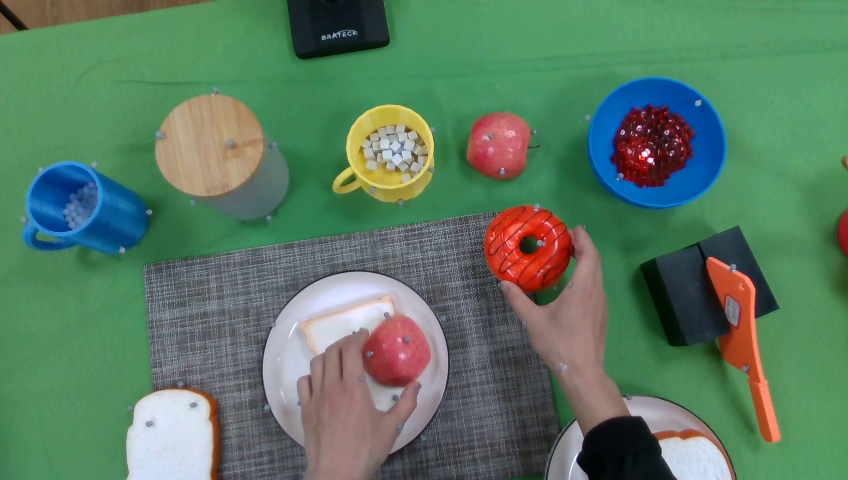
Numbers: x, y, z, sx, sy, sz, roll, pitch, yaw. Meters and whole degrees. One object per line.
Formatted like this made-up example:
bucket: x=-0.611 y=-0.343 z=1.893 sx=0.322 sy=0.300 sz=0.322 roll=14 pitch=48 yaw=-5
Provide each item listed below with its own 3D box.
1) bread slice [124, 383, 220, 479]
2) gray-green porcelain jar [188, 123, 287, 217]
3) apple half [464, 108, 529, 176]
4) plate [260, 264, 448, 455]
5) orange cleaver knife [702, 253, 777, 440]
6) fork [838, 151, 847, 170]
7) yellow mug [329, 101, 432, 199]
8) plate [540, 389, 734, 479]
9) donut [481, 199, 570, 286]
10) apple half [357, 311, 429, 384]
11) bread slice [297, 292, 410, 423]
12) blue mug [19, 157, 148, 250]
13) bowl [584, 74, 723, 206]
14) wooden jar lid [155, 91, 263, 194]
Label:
bread slice: x=-0.283 y=0.227 z=0.677 sx=0.105 sy=0.019 sz=0.131 roll=-1 pitch=82 yaw=-1
gray-green porcelain jar: x=-0.215 y=-0.086 z=0.676 sx=0.106 sy=0.127 sz=0.105 roll=0 pitch=80 yaw=1
apple half: x=0.087 y=-0.121 z=0.717 sx=0.074 sy=0.053 sz=0.080 roll=13 pitch=81 yaw=5
plate: x=-0.077 y=0.132 z=0.680 sx=0.208 sy=0.039 sz=0.207 roll=0 pitch=81 yaw=0
orange cleaver knife: x=0.342 y=0.116 z=0.660 sx=0.012 sy=0.077 sz=0.212 roll=-20 pitch=102 yaw=-9
fork: x=0.486 y=-0.043 z=0.652 sx=0.209 sy=0.018 sz=0.028 roll=30 pitch=78 yaw=-37
yellow mug: x=-0.054 y=-0.095 z=0.707 sx=0.131 sy=0.064 sz=0.099 roll=-32 pitch=82 yaw=-4
plate: x=0.228 y=0.267 z=0.659 sx=0.209 sy=0.038 sz=0.208 roll=0 pitch=80 yaw=0
donut: x=0.112 y=0.003 z=0.671 sx=0.099 sy=0.048 sz=0.098 roll=0 pitch=79 yaw=0
apple half: x=-0.032 y=0.118 z=0.660 sx=0.081 sy=0.033 sz=0.081 roll=0 pitch=78 yaw=0
bread slice: x=-0.071 y=0.135 z=0.680 sx=0.107 sy=0.018 sz=0.134 roll=-20 pitch=81 yaw=-2
blue mug: x=-0.388 y=-0.029 z=0.678 sx=0.116 sy=0.106 sz=0.082 roll=-35 pitch=81 yaw=-5
bowl: x=0.253 y=-0.105 z=0.700 sx=0.151 sy=0.077 sz=0.151 roll=0 pitch=81 yaw=1
wooden jar lid: x=-0.216 y=-0.097 z=0.615 sx=0.108 sy=0.021 sz=0.108 roll=0 pitch=79 yaw=1
